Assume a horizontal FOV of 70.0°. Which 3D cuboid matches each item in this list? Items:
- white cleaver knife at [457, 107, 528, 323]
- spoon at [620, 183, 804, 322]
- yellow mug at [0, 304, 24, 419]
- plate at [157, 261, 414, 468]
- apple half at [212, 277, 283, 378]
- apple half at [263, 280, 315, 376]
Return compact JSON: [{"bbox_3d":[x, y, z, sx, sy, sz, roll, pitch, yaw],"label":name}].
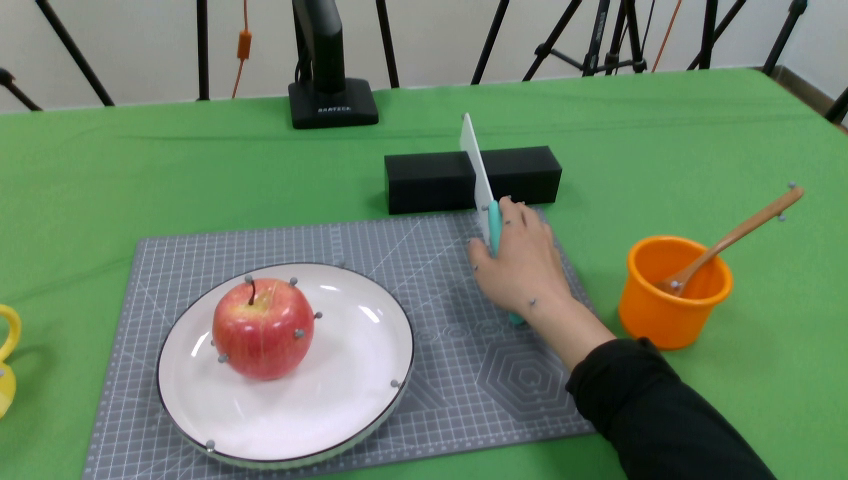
[{"bbox_3d":[0.068,-0.034,0.655,0.021,0.066,0.283,-2,52,-8],"label":"white cleaver knife"},{"bbox_3d":[0.264,0.012,0.560,0.022,0.194,0.041,33,23,-36],"label":"spoon"},{"bbox_3d":[-0.378,0.101,0.480,0.099,0.064,0.130,18,43,16],"label":"yellow mug"},{"bbox_3d":[-0.113,0.101,0.515,0.209,0.038,0.207,2,42,-2],"label":"plate"},{"bbox_3d":[-0.146,0.073,0.504,0.053,0.075,0.080,0,44,3],"label":"apple half"},{"bbox_3d":[-0.107,0.074,0.504,0.033,0.082,0.080,-1,42,3],"label":"apple half"}]
